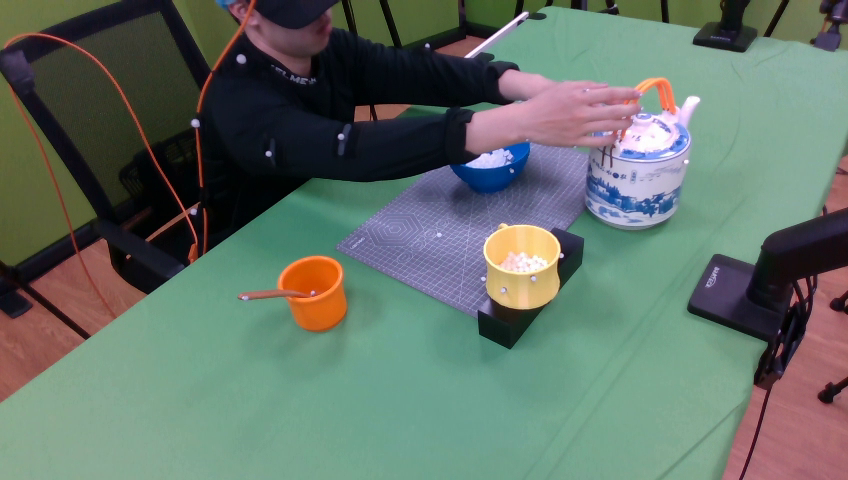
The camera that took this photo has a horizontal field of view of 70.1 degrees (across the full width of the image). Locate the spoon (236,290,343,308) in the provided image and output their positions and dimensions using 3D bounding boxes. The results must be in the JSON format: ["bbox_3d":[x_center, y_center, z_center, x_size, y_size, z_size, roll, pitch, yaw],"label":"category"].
[{"bbox_3d":[-0.176,0.076,0.808,0.041,0.195,0.021,23,93,30],"label":"spoon"}]

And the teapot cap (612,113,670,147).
[{"bbox_3d":[0.323,-0.166,0.900,0.085,0.044,0.085,-3,38,3],"label":"teapot cap"}]

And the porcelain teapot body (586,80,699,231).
[{"bbox_3d":[0.350,-0.148,0.936,0.206,0.226,0.144,-31,45,-25],"label":"porcelain teapot body"}]

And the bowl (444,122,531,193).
[{"bbox_3d":[0.112,-0.136,1.064,0.151,0.077,0.150,-4,41,4],"label":"bowl"}]

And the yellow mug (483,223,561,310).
[{"bbox_3d":[0.125,0.025,0.811,0.100,0.064,0.130,-16,39,-10],"label":"yellow mug"}]
